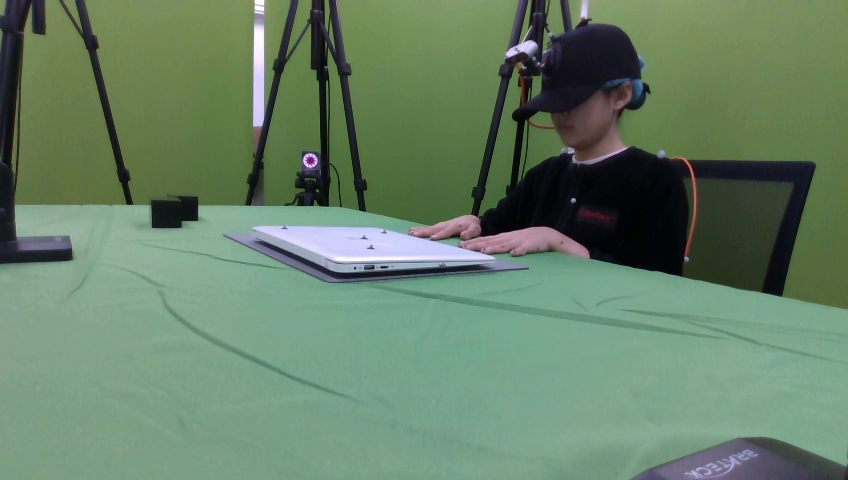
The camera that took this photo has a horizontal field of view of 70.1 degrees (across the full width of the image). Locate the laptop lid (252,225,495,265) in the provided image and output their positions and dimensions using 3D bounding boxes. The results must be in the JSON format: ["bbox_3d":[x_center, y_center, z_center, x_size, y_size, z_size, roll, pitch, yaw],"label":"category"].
[{"bbox_3d":[-0.090,0.004,0.883,0.243,0.013,0.355,1,7,-31],"label":"laptop lid"}]

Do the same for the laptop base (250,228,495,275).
[{"bbox_3d":[-0.093,0.015,0.884,0.237,0.023,0.352,3,6,-32],"label":"laptop base"}]
